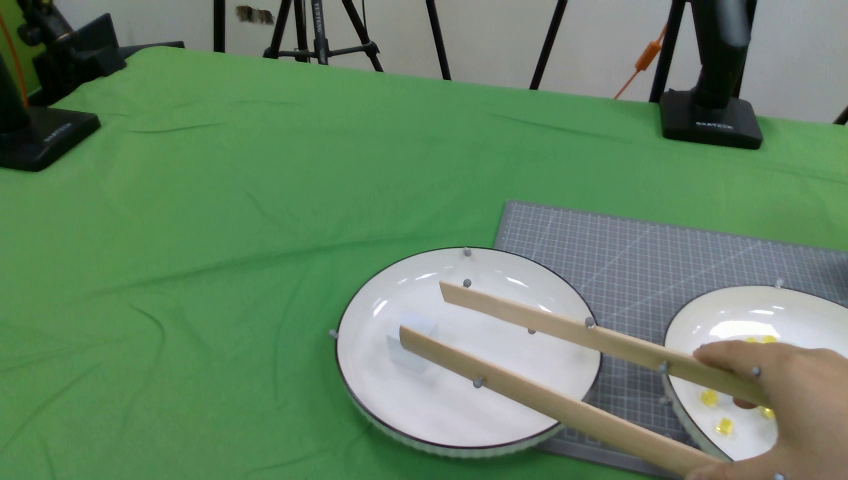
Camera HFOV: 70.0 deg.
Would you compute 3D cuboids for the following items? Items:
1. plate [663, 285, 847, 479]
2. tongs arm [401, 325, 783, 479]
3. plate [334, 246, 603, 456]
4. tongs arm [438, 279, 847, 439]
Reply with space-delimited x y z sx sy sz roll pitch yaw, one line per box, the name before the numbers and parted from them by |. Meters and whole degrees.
plate | 0.282 0.118 0.451 0.208 0.039 0.205 1 40 0
tongs arm | 0.149 0.115 0.343 0.385 0.028 0.028 16 42 28
plate | 0.035 0.084 0.487 0.209 0.038 0.207 0 40 1
tongs arm | 0.167 0.095 0.363 0.382 0.027 0.050 15 45 27
